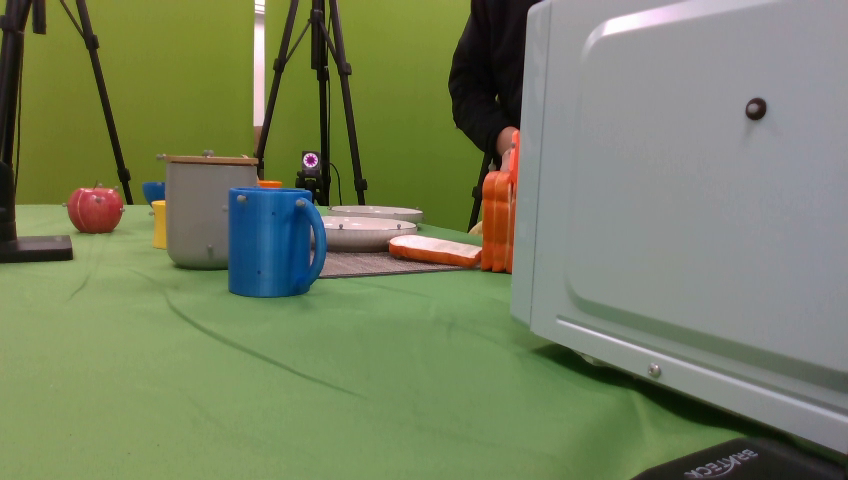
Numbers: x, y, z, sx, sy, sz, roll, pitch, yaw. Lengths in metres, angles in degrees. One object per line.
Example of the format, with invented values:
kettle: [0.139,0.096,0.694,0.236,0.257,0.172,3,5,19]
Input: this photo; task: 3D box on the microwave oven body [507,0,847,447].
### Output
microwave oven body: [0.331,-0.042,0.425,0.444,0.260,0.324,-2,8,-31]

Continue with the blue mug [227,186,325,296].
blue mug: [-0.146,0.000,0.618,0.116,0.106,0.083,7,9,32]

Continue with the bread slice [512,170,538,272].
bread slice: [0.137,-0.027,0.817,0.018,0.134,0.107,2,7,19]

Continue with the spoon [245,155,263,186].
spoon: [-0.421,-0.150,1.540,0.042,0.021,0.193,-5,55,-37]

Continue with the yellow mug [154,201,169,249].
yellow mug: [-0.337,-0.022,0.899,0.130,0.064,0.100,8,9,34]

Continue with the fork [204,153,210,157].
fork: [-0.480,-0.134,1.411,0.028,0.018,0.207,1,-35,0]

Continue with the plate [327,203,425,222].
plate: [-0.102,-0.053,1.299,0.209,0.038,0.209,2,8,0]

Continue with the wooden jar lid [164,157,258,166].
wooden jar lid: [-0.261,-0.093,0.746,0.108,0.020,0.108,0,9,0]

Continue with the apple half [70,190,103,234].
apple half: [-0.552,-0.047,1.009,0.053,0.074,0.081,-1,9,26]

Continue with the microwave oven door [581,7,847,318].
microwave oven door: [0.295,-0.067,0.570,0.358,0.243,0.039,-3,8,-31]

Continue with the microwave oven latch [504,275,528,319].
microwave oven latch: [0.100,0.042,0.470,0.079,0.029,0.030,-1,7,-28]

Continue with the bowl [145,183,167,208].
bowl: [-0.459,-0.068,1.175,0.151,0.077,0.151,3,7,0]

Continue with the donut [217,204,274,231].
donut: [-0.318,-0.038,1.080,0.099,0.048,0.099,3,7,0]

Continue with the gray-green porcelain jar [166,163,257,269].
gray-green porcelain jar: [-0.263,-0.031,0.754,0.106,0.126,0.106,2,7,0]

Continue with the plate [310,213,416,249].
plate: [-0.116,-0.014,0.967,0.208,0.039,0.207,2,7,0]

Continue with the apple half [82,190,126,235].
apple half: [-0.516,-0.046,0.994,0.032,0.081,0.081,0,6,26]

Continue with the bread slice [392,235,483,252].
bread slice: [0.020,0.006,0.872,0.131,0.019,0.105,4,-1,7]

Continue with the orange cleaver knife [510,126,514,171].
orange cleaver knife: [0.144,-0.101,0.868,0.012,0.077,0.212,0,-7,18]
